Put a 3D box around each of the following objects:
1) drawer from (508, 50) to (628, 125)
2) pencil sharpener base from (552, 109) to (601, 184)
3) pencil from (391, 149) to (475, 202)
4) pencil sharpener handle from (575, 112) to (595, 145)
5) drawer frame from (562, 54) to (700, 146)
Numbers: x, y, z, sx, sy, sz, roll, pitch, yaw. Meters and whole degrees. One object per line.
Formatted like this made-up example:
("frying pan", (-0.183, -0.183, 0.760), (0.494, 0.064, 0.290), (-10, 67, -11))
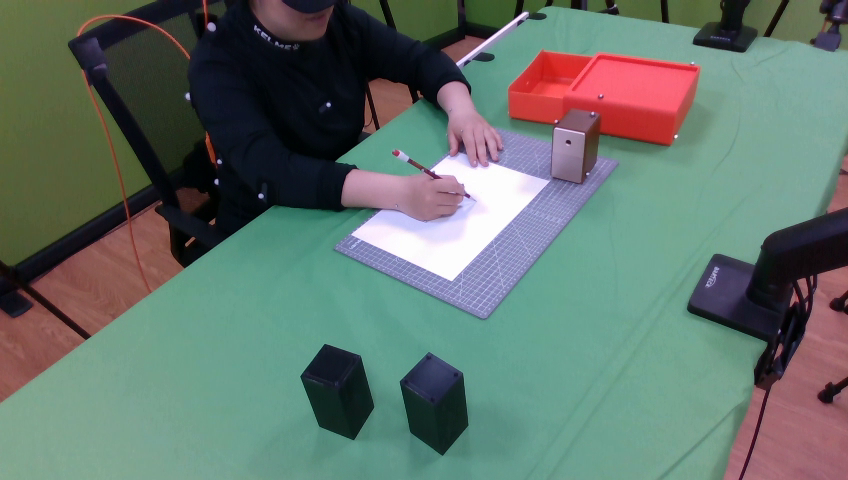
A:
("drawer", (0.305, -0.309, 1.246), (0.210, 0.073, 0.195), (16, 45, 25))
("pencil sharpener base", (0.265, -0.163, 1.053), (0.061, 0.107, 0.077), (17, 46, 27))
("pencil", (0.020, -0.101, 0.985), (0.012, 0.196, 0.012), (-26, 51, 38))
("pencil sharpener handle", (0.290, -0.203, 1.077), (0.036, 0.068, 0.031), (19, 47, 26))
("drawer frame", (0.407, -0.282, 1.195), (0.212, 0.083, 0.202), (17, 45, 25))
